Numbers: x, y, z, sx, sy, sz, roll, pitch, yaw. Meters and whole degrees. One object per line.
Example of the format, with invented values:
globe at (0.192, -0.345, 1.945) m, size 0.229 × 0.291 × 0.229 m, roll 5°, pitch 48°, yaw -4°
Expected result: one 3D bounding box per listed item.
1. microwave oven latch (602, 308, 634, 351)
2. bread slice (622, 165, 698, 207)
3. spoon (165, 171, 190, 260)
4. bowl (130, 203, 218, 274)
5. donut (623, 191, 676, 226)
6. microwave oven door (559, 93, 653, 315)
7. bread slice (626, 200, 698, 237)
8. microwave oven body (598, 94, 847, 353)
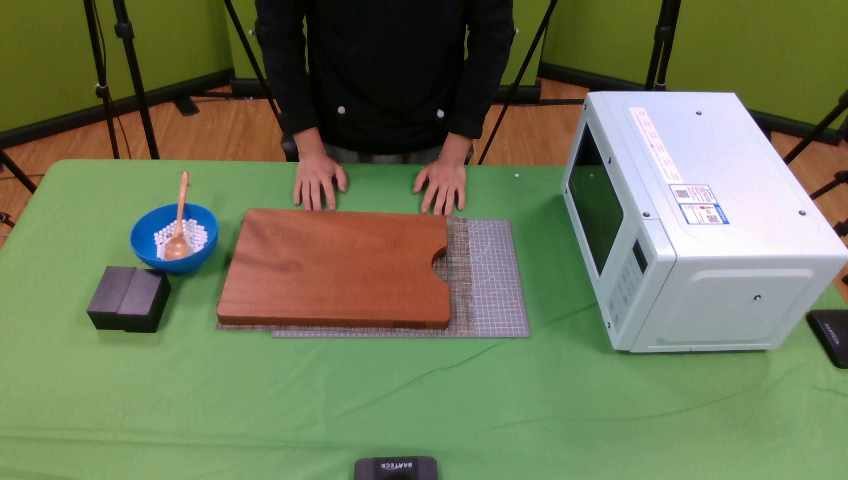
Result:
microwave oven latch at (0.332, 0.153, 1.044) m, size 0.030 × 0.029 × 0.078 m, roll -1°, pitch 45°, yaw -4°
bread slice at (0.449, -0.101, 1.146) m, size 0.135 × 0.018 × 0.106 m, roll 3°, pitch 41°, yaw -22°
spoon at (-0.452, -0.046, 1.129) m, size 0.041 × 0.022 × 0.193 m, roll -1°, pitch 69°, yaw -2°
bowl at (-0.450, 0.010, 1.117) m, size 0.151 × 0.077 × 0.150 m, roll 3°, pitch 45°, yaw -3°
donut at (0.437, -0.061, 1.173) m, size 0.099 × 0.048 × 0.098 m, roll -7°, pitch 28°, yaw 4°
microwave oven door at (0.327, -0.074, 1.123) m, size 0.039 × 0.245 × 0.353 m, roll -1°, pitch 46°, yaw -5°
bread slice at (0.469, -0.043, 1.198) m, size 0.131 × 0.019 × 0.104 m, roll 3°, pitch 39°, yaw 10°
microwave oven body at (0.475, -0.041, 1.110) m, size 0.326 × 0.261 × 0.438 m, roll -1°, pitch 45°, yaw -4°
